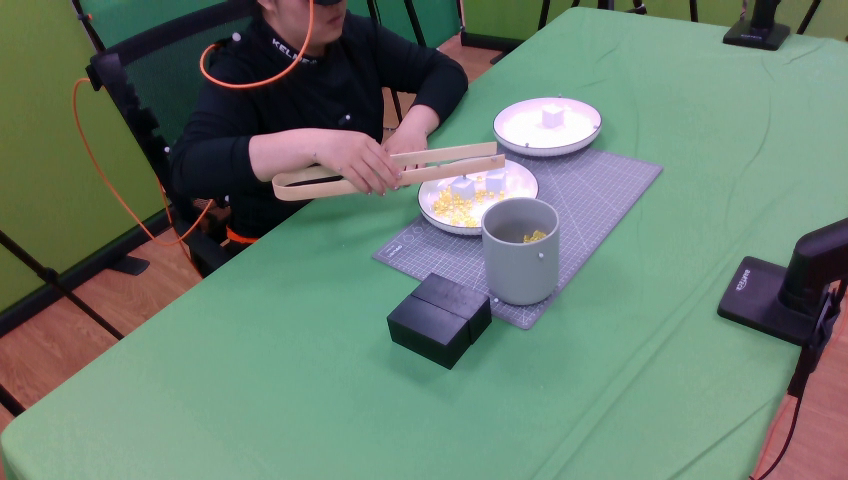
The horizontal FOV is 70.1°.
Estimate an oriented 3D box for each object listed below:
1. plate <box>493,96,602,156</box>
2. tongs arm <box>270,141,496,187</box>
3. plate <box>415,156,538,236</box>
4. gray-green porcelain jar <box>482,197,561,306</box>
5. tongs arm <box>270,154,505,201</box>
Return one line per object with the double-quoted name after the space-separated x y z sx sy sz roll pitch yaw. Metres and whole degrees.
0.238 -0.218 1.180 0.209 0.038 0.208 -4 39 4 "plate"
-0.062 -0.128 1.020 0.389 0.028 0.028 -10 42 -10 "tongs arm"
0.090 -0.072 1.034 0.207 0.039 0.206 -5 40 5 "plate"
0.138 0.020 0.846 0.106 0.127 0.105 -5 40 5 "gray-green porcelain jar"
-0.056 -0.109 0.995 0.386 0.026 0.050 -11 39 -11 "tongs arm"
